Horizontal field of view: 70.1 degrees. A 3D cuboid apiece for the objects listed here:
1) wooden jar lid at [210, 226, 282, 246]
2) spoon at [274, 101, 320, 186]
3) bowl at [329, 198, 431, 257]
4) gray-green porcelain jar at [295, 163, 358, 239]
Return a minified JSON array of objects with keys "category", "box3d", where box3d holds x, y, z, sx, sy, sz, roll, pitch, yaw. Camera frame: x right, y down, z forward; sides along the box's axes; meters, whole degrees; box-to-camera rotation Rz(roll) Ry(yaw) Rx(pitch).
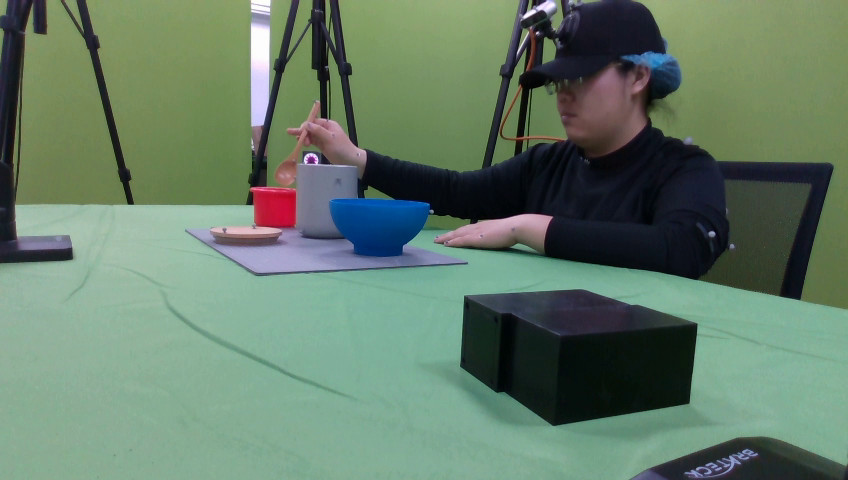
[{"category":"wooden jar lid","box3d":[-0.279,-0.007,0.951,0.108,0.020,0.108,2,8,0]},{"category":"spoon","box3d":[-0.247,-0.194,1.207,0.042,0.193,0.021,25,-11,-12]},{"category":"bowl","box3d":[-0.066,-0.019,0.895,0.151,0.077,0.151,3,7,0]},{"category":"gray-green porcelain jar","box3d":[-0.170,-0.069,1.054,0.106,0.126,0.106,3,7,0]}]
